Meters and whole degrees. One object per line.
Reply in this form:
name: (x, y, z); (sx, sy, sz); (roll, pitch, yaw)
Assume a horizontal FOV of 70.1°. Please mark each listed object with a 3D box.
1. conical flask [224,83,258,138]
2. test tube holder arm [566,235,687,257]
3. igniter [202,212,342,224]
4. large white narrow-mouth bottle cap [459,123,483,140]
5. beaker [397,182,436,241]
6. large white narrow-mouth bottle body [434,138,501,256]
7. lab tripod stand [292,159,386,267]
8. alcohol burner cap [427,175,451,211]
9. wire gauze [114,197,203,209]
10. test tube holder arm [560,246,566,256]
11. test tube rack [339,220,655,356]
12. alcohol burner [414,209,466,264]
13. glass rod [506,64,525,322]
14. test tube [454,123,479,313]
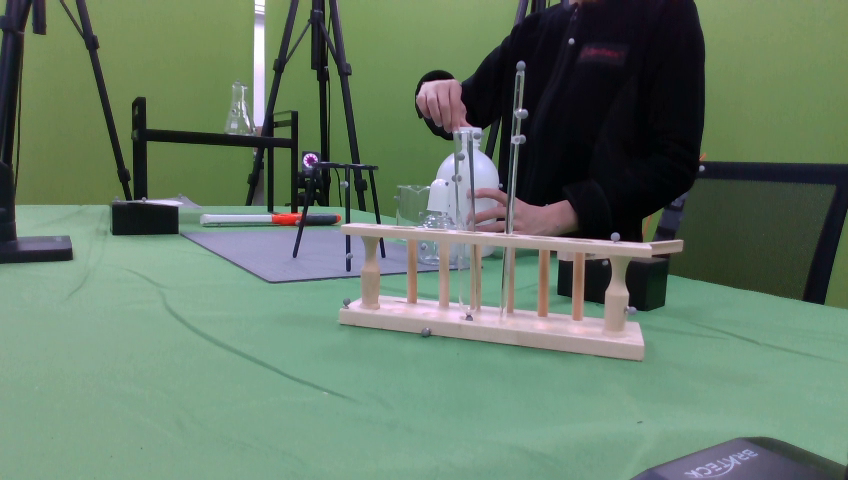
conical flask: (-0.422, -0.299, 1.395); (0.075, 0.122, 0.075); (2, 7, 0)
test tube holder arm: (0.215, 0.006, 0.630); (0.179, 0.015, 0.013); (-3, 10, -31)
igniter: (-0.298, -0.044, 1.216); (0.278, 0.025, 0.057); (-2, -2, -32)
large white narrow-mouth bottle cap: (0.072, -0.165, 0.924); (0.038, 0.024, 0.037); (2, 8, 0)
beaker: (-0.012, -0.050, 1.072); (0.074, 0.100, 0.084); (1, 8, -4)
large white narrow-mouth bottle body: (0.069, -0.078, 0.937); (0.102, 0.194, 0.102); (2, 8, 0)
lab tripod stand: (-0.105, -0.039, 0.798); (0.148, 0.131, 0.148); (2, 5, 0)
alcohol burner cap: (0.023, -0.064, 0.822); (0.034, 0.048, 0.034); (7, 4, 0)
wire gauze: (-0.447, -0.062, 1.015); (0.126, 0.011, 0.121); (-2, 8, -31)
test tube holder arm: (0.173, 0.007, 0.612); (0.088, 0.015, 0.010); (-3, 10, -30)
test tube rack: (0.056, 0.032, 0.495); (0.242, 0.085, 0.067); (4, 7, 15)
alcohol burner: (0.021, -0.028, 0.826); (0.078, 0.119, 0.078); (0, 6, 0)
glass rod: (0.069, -0.030, 0.458); (0.008, 0.199, 0.008); (0, 15, 0)
test tube: (0.034, -0.016, 0.477); (0.017, 0.150, 0.017); (-2, 9, 1)
